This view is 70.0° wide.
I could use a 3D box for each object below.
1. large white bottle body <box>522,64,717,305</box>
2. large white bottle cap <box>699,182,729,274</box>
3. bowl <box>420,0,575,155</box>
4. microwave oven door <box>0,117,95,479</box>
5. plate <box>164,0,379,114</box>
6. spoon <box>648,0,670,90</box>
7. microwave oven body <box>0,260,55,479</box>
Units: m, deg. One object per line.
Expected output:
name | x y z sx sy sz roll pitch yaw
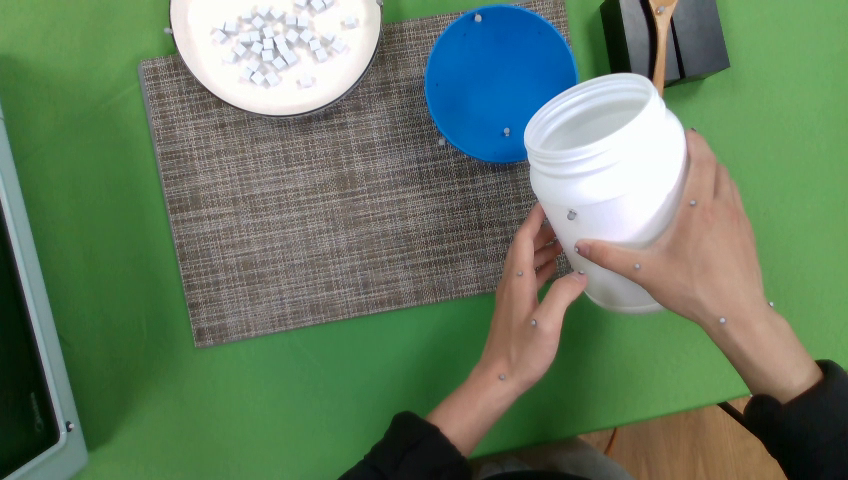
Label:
large white bottle body | 0.172 -0.047 0.537 0.130 0.129 0.186 -36 122 -2
large white bottle cap | 0.282 -0.011 0.673 0.115 0.018 0.115 0 93 -6
bowl | 0.068 -0.157 0.614 0.151 0.076 0.151 0 92 -5
microwave oven door | -0.381 0.057 0.488 0.039 0.243 0.356 -14 93 -4
plate | -0.149 -0.228 0.612 0.209 0.038 0.209 0 90 -5
spoon | 0.234 -0.200 0.613 0.042 0.021 0.194 1 98 -8
microwave oven body | -0.533 0.049 0.479 0.326 0.259 0.442 -13 94 -5
